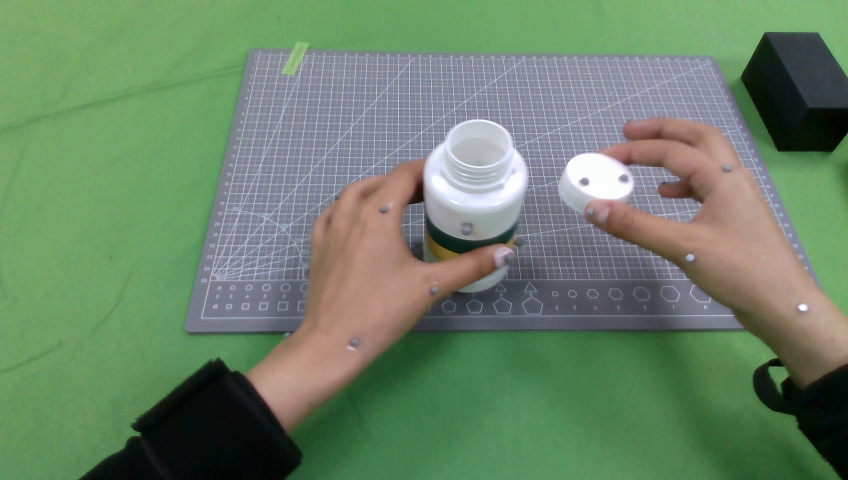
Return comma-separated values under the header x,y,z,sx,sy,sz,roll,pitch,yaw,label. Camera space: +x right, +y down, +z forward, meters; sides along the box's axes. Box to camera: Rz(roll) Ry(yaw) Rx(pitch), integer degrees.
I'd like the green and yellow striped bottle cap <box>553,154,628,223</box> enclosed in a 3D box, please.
x,y,z,sx,sy,sz,roll,pitch,yaw,label
0.106,-0.034,0.387,0.045,0.020,0.045,5,51,-6,green and yellow striped bottle cap

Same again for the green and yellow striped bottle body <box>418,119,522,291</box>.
x,y,z,sx,sy,sz,roll,pitch,yaw,label
0.027,-0.022,0.390,0.063,0.120,0.062,0,56,0,green and yellow striped bottle body
